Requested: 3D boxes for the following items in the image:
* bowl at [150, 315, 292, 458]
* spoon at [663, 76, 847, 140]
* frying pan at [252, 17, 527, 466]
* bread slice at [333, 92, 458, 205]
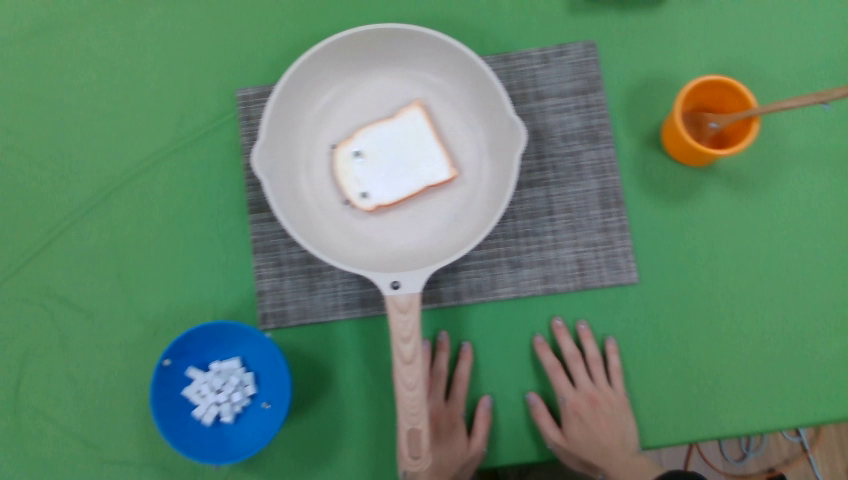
[{"bbox_3d":[-0.214,0.159,0.676,0.151,0.077,0.151,0,83,2],"label":"bowl"},{"bbox_3d":[0.355,-0.145,0.654,0.022,0.193,0.041,7,80,-42],"label":"spoon"},{"bbox_3d":[-0.030,-0.007,0.672,0.307,0.103,0.485,-5,74,3],"label":"frying pan"},{"bbox_3d":[-0.039,-0.100,0.724,0.134,0.018,0.106,-28,82,-3],"label":"bread slice"}]
